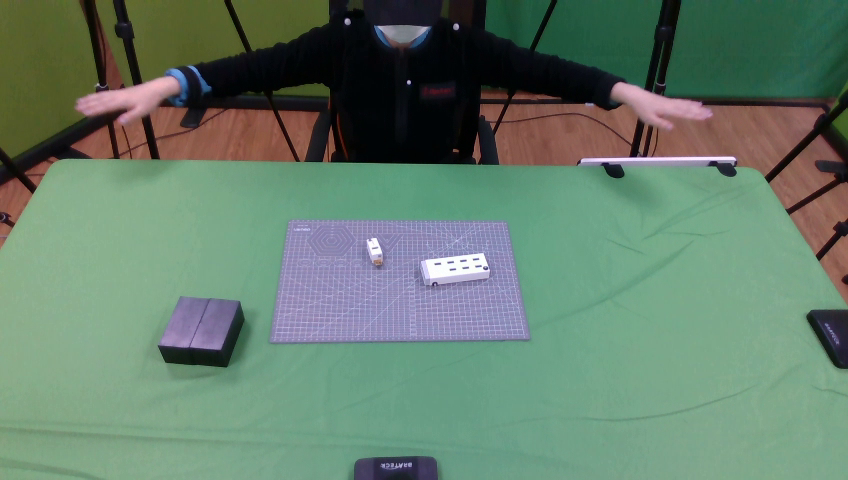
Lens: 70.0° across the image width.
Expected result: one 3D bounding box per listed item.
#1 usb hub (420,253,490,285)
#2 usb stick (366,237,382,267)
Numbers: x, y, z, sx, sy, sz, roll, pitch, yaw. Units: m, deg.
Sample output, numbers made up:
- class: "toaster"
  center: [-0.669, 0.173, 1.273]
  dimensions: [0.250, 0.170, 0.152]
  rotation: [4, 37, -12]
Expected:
- class: "usb hub"
  center: [0.059, 0.055, 1.142]
  dimensions: [0.125, 0.025, 0.049]
  rotation: [-7, 47, -10]
- class: "usb stick"
  center: [-0.093, 0.025, 1.159]
  dimensions: [0.021, 0.027, 0.059]
  rotation: [-10, 51, -15]
